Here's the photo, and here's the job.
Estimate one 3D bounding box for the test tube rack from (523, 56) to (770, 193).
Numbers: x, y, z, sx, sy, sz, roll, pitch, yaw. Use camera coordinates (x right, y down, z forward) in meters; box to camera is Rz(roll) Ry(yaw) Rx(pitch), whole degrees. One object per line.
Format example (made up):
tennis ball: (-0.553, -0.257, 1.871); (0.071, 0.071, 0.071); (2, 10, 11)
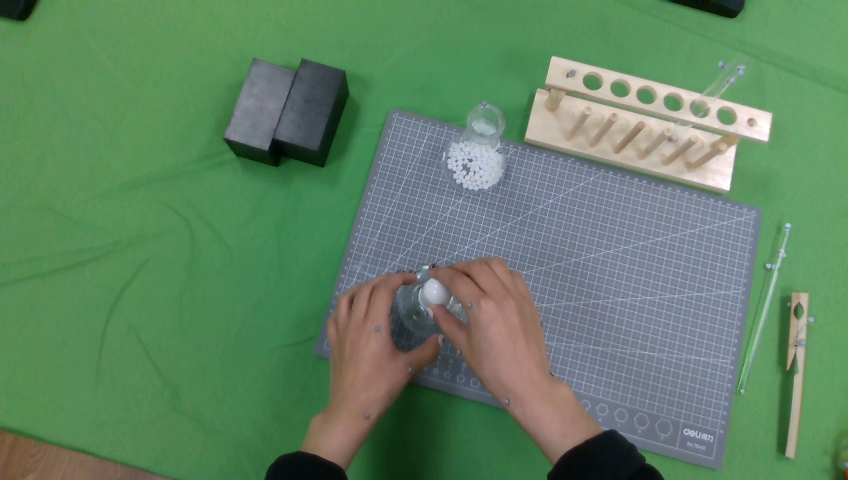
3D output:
test tube rack: (0.243, -0.127, 0.681); (0.242, 0.085, 0.066); (15, 77, 1)

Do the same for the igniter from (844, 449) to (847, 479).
igniter: (0.481, 0.214, 0.645); (0.057, 0.025, 0.275); (26, 78, -7)

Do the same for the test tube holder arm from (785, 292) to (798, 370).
test tube holder arm: (0.409, 0.101, 0.673); (0.010, 0.015, 0.087); (1, 75, 36)

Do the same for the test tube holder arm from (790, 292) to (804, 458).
test tube holder arm: (0.406, 0.144, 0.659); (0.013, 0.015, 0.177); (-1, 74, 35)

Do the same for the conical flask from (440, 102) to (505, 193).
conical flask: (0.057, -0.102, 0.645); (0.075, 0.122, 0.075); (1, 77, -2)

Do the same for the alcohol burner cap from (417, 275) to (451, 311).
alcohol burner cap: (0.011, 0.048, 0.577); (0.034, 0.048, 0.033); (1, 75, -4)

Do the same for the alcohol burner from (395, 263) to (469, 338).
alcohol burner: (0.009, 0.058, 0.612); (0.078, 0.119, 0.077); (0, 75, -1)

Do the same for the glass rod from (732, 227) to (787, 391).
glass rod: (0.378, 0.075, 0.681); (0.008, 0.008, 0.199); (22, 80, 3)

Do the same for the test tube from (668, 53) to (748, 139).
test tube: (0.292, -0.146, 0.636); (0.017, 0.151, 0.017); (1, 71, -3)
